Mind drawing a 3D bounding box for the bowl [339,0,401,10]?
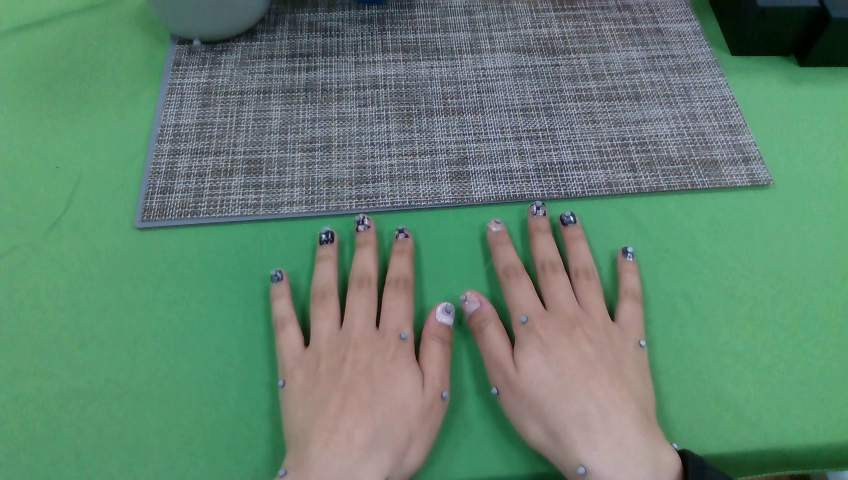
[{"bbox_3d":[-0.049,-0.258,0.530,0.151,0.077,0.150,0,58,0],"label":"bowl"}]

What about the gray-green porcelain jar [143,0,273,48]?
[{"bbox_3d":[-0.181,-0.229,0.480,0.106,0.127,0.105,0,57,0],"label":"gray-green porcelain jar"}]
